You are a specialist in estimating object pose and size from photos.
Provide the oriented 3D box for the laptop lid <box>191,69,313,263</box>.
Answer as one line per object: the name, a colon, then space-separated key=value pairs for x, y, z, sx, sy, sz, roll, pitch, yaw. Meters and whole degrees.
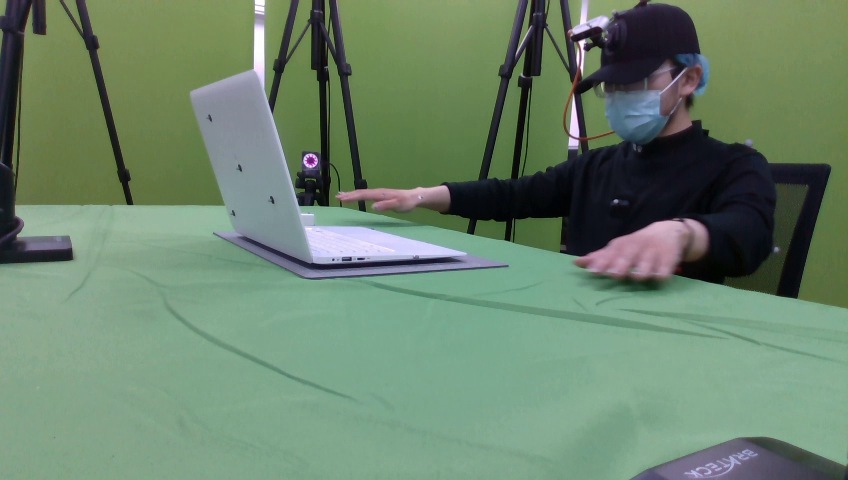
laptop lid: x=-0.252 y=-0.102 z=0.839 sx=0.013 sy=0.242 sz=0.355 roll=-22 pitch=20 yaw=-28

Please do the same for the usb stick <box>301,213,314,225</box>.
usb stick: x=-0.255 y=-0.042 z=1.232 sx=0.059 sy=0.027 sz=0.021 roll=-7 pitch=13 yaw=-42

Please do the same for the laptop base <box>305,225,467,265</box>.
laptop base: x=-0.126 y=0.005 z=0.937 sx=0.237 sy=0.023 sz=0.352 roll=2 pitch=7 yaw=-33
